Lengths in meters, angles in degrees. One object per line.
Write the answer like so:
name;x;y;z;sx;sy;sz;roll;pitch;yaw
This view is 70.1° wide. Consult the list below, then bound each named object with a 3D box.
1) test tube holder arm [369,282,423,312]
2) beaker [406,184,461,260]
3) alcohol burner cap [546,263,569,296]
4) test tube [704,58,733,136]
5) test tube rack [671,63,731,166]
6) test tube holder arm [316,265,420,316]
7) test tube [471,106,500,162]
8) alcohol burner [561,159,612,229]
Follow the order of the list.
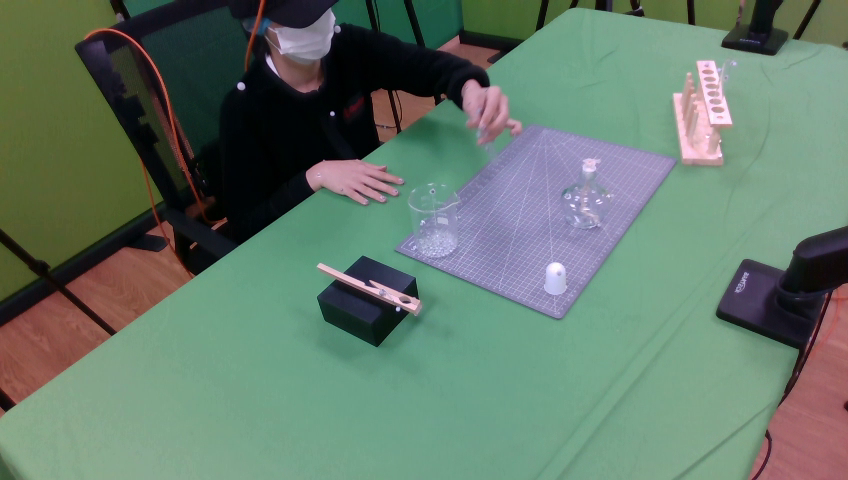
test tube holder arm;-0.040;0.076;0.817;0.087;0.015;0.010;18;56;28
beaker;0.019;-0.026;0.939;0.084;0.101;0.074;1;41;10
alcohol burner cap;0.191;0.053;0.862;0.034;0.048;0.033;-5;40;4
test tube;0.516;-0.247;1.062;0.017;0.151;0.017;-3;43;4
test tube rack;0.513;-0.240;1.132;0.066;0.085;0.242;4;41;14
test tube holder arm;-0.080;0.068;0.836;0.177;0.015;0.013;18;55;28
test tube;0.099;-0.165;0.959;0.017;0.151;0.017;-7;65;17
alcohol burner;0.257;-0.077;0.951;0.078;0.119;0.077;-3;40;3
